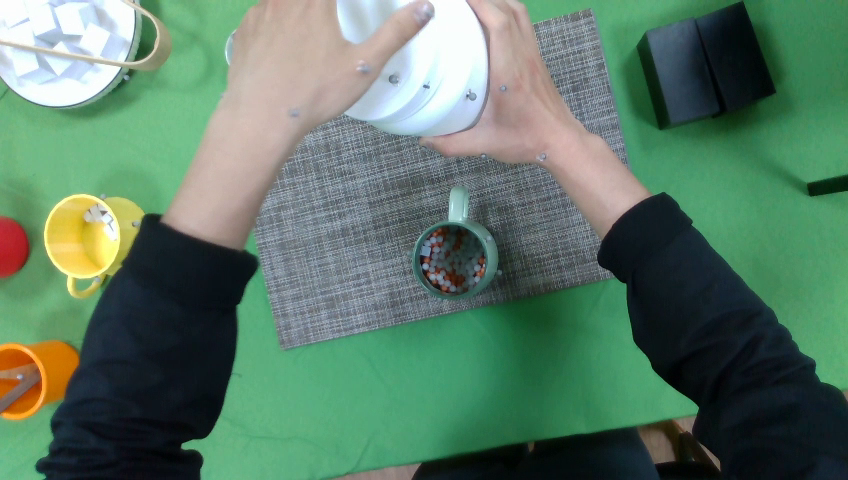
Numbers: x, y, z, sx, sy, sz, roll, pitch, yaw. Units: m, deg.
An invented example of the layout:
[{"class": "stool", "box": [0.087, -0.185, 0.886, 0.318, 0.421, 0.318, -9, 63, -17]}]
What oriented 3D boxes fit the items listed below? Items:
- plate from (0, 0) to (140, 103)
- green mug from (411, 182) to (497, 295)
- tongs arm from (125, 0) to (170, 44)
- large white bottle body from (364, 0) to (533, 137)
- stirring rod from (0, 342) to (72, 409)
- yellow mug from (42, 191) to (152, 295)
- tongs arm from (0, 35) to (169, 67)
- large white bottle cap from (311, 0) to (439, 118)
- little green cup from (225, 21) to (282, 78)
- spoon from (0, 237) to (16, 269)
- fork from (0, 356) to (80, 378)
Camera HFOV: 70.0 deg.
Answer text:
[{"class": "plate", "box": [-0.445, -0.272, 0.751, 0.207, 0.039, 0.207, 0, 92, 8]}, {"class": "green mug", "box": [0.034, -0.001, 0.659, 0.092, 0.105, 0.125, 4, 92, 8]}, {"class": "tongs arm", "box": [-0.459, -0.335, 0.721, 0.386, 0.028, 0.028, 30, 89, 8]}, {"class": "large white bottle body", "box": [0.006, -0.161, 0.543, 0.130, 0.185, 0.131, 4, 98, 32]}, {"class": "stirring rod", "box": [-0.500, 0.188, 0.724, 0.014, 0.006, 0.175, 37, 54, 4]}, {"class": "yellow mug", "box": [-0.402, 0.006, 0.741, 0.100, 0.064, 0.131, 20, 95, 6]}, {"class": "tongs arm", "box": [-0.488, -0.257, 0.726, 0.384, 0.026, 0.051, 16, 90, 9]}, {"class": "large white bottle cap", "box": [-0.041, -0.154, 0.470, 0.114, 0.018, 0.115, 4, 99, 32]}, {"class": "little green cup", "box": [-0.200, -0.223, 0.719, 0.061, 0.038, 0.061, 0, 93, 8]}, {"class": "spoon", "box": [-0.565, -0.035, 0.721, 0.041, 0.021, 0.196, -17, 134, 7]}, {"class": "fork", "box": [-0.530, 0.157, 0.721, 0.209, 0.018, 0.028, 4, 90, -36]}]
